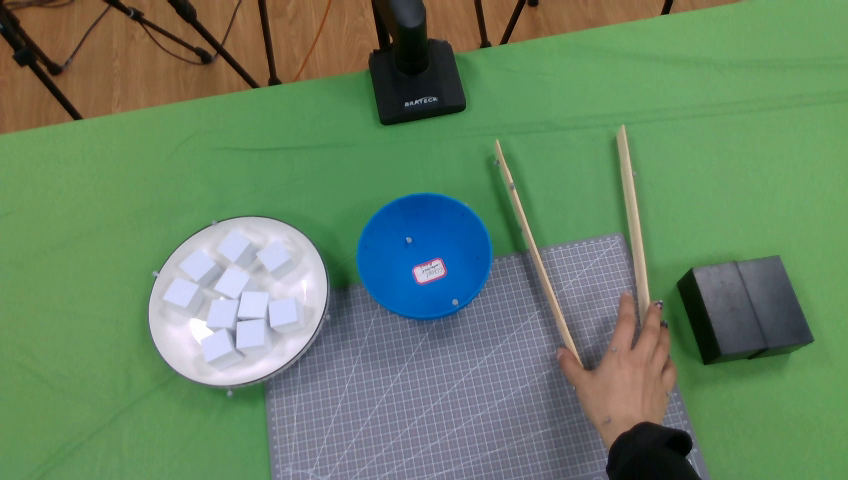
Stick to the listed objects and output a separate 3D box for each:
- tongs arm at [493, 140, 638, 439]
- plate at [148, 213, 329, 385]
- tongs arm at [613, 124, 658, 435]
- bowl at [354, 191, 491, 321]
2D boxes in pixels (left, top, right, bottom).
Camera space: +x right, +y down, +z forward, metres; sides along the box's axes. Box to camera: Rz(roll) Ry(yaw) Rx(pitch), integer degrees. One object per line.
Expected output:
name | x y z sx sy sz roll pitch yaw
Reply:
tongs arm | 0.156 0.041 0.708 0.051 0.027 0.381 -11 67 -6
plate | -0.212 0.068 0.709 0.207 0.039 0.206 -1 66 3
tongs arm | 0.242 0.030 0.712 0.028 0.028 0.384 4 66 -3
bowl | -0.001 0.029 0.694 0.151 0.077 0.150 -1 66 2
